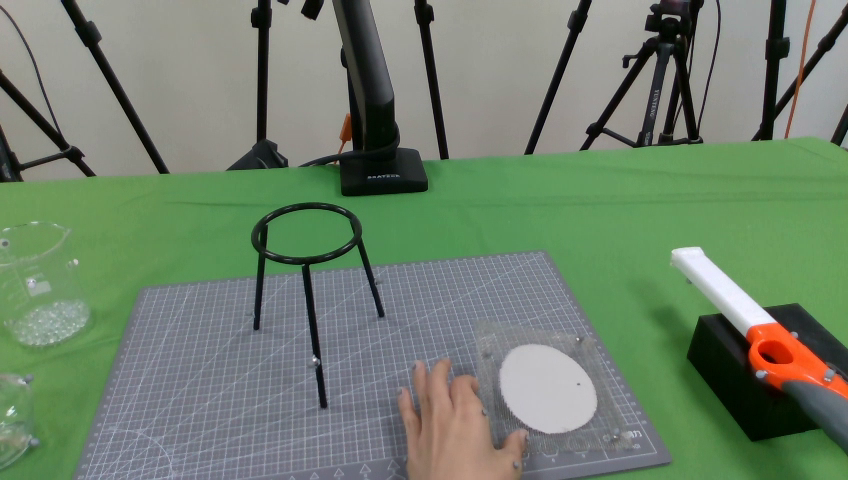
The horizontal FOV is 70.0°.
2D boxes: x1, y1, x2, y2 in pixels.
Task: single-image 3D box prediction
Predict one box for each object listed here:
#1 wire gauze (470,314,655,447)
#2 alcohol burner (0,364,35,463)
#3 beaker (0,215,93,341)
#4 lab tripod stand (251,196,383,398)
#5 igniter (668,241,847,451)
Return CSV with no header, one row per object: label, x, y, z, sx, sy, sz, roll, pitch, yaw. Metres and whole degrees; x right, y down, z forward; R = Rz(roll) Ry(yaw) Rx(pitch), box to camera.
wire gauze,0.114,0.111,0.501,0.126,0.011,0.120,-2,39,-28
alcohol burner,-0.336,0.111,0.445,0.078,0.120,0.077,2,32,-1
beaker,-0.359,0.037,0.569,0.073,0.101,0.084,26,41,32
lab tripod stand,-0.095,0.041,0.531,0.148,0.132,0.147,2,35,-1
igniter,0.283,0.078,0.500,0.057,0.025,0.273,-6,31,-7
